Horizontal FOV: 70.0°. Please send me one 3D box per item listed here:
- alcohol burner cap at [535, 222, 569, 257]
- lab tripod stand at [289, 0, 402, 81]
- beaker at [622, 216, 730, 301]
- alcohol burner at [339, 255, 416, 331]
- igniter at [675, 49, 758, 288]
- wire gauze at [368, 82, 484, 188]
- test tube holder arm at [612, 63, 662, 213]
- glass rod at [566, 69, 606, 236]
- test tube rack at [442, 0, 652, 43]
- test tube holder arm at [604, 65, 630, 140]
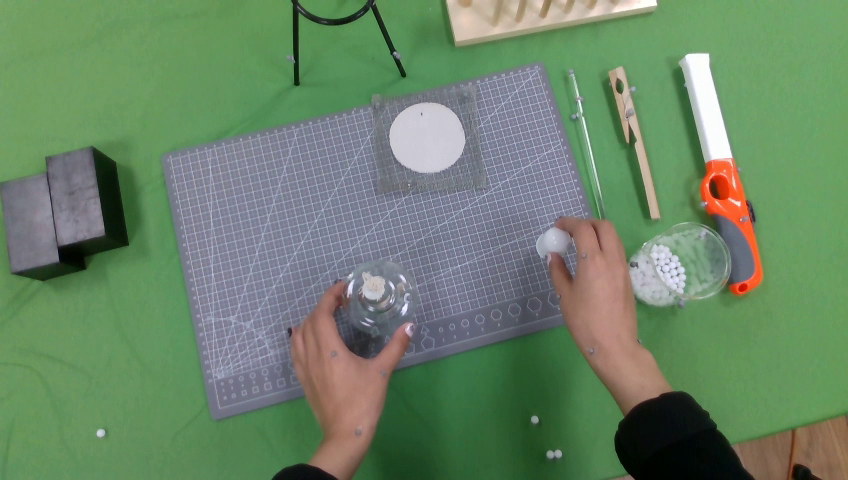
[{"bbox_3d":[0.135,-0.003,0.628,0.034,0.048,0.033,0,77,0],"label":"alcohol burner cap"},{"bbox_3d":[-0.093,-0.237,0.649,0.148,0.132,0.148,0,81,0],"label":"lab tripod stand"},{"bbox_3d":[0.247,0.023,0.618,0.084,0.100,0.074,16,79,5],"label":"beaker"},{"bbox_3d":[-0.048,0.050,0.602,0.078,0.119,0.077,0,78,2],"label":"alcohol burner"},{"bbox_3d":[0.325,-0.083,0.675,0.057,0.025,0.275,-6,79,-12],"label":"igniter"},{"bbox_3d":[0.001,-0.119,0.688,0.125,0.011,0.121,-4,80,-2],"label":"wire gauze"},{"bbox_3d":[0.239,-0.116,0.683,0.013,0.015,0.177,-20,77,31],"label":"test tube holder arm"},{"bbox_3d":[0.184,-0.101,0.687,0.008,0.008,0.199,-10,82,-2],"label":"glass rod"},{"bbox_3d":[0.145,-0.296,0.685,0.242,0.085,0.066,-11,79,-2],"label":"test tube rack"},{"bbox_3d":[0.224,-0.157,0.694,0.010,0.015,0.087,-19,78,31],"label":"test tube holder arm"}]
